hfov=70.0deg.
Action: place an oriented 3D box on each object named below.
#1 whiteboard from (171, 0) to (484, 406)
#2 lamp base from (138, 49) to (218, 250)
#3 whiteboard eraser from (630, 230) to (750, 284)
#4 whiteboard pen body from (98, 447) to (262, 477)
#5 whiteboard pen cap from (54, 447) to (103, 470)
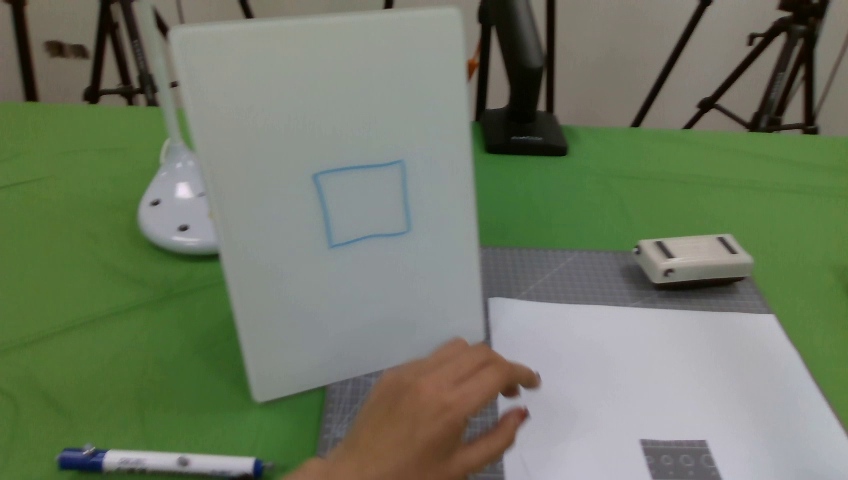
[{"bbox_3d":[-0.079,-0.044,0.548,0.218,0.307,0.142,-12,22,-17],"label":"whiteboard"},{"bbox_3d":[-0.253,-0.106,0.665,0.177,0.182,0.160,29,45,31],"label":"lamp base"},{"bbox_3d":[0.289,0.019,0.661,0.113,0.042,0.055,-4,40,-9],"label":"whiteboard eraser"},{"bbox_3d":[-0.193,0.165,0.452,0.141,0.017,0.017,4,38,-3],"label":"whiteboard pen body"},{"bbox_3d":[-0.252,0.162,0.448,0.033,0.018,0.018,3,38,-5],"label":"whiteboard pen cap"}]
